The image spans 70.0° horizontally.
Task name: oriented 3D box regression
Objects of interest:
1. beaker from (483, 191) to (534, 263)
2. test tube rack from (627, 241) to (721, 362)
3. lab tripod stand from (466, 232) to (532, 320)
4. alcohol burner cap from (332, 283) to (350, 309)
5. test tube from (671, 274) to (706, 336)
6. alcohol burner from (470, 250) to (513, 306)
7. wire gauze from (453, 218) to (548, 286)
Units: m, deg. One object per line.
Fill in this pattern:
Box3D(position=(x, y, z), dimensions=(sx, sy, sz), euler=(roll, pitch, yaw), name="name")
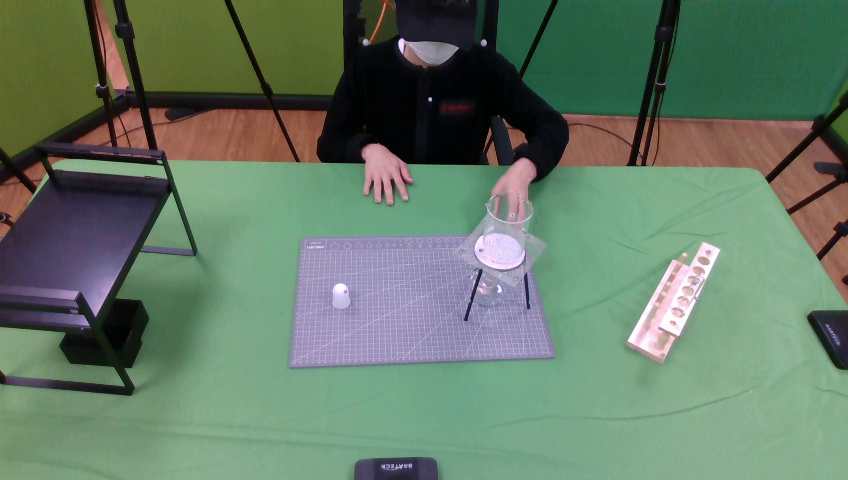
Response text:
Box3D(position=(0.135, -0.020, 0.983), dimensions=(0.073, 0.101, 0.084), euler=(28, 50, 23), name="beaker")
Box3D(position=(0.452, 0.098, 1.087), dimensions=(0.066, 0.085, 0.242), euler=(28, 51, 22), name="test tube rack")
Box3D(position=(0.125, 0.059, 1.065), dimensions=(0.148, 0.132, 0.147), euler=(1, 45, 0), name="lab tripod stand")
Box3D(position=(-0.148, 0.096, 1.075), dimensions=(0.034, 0.048, 0.033), euler=(3, 46, -3), name="alcohol burner cap")
Box3D(position=(0.429, 0.112, 1.004), dimensions=(0.017, 0.151, 0.017), euler=(4, 43, -4), name="test tube")
Box3D(position=(0.121, 0.062, 1.076), dimensions=(0.078, 0.120, 0.077), euler=(1, 47, 0), name="alcohol burner")
Box3D(position=(0.129, 0.014, 1.019), dimensions=(0.124, 0.011, 0.121), euler=(25, 47, 25), name="wire gauze")
